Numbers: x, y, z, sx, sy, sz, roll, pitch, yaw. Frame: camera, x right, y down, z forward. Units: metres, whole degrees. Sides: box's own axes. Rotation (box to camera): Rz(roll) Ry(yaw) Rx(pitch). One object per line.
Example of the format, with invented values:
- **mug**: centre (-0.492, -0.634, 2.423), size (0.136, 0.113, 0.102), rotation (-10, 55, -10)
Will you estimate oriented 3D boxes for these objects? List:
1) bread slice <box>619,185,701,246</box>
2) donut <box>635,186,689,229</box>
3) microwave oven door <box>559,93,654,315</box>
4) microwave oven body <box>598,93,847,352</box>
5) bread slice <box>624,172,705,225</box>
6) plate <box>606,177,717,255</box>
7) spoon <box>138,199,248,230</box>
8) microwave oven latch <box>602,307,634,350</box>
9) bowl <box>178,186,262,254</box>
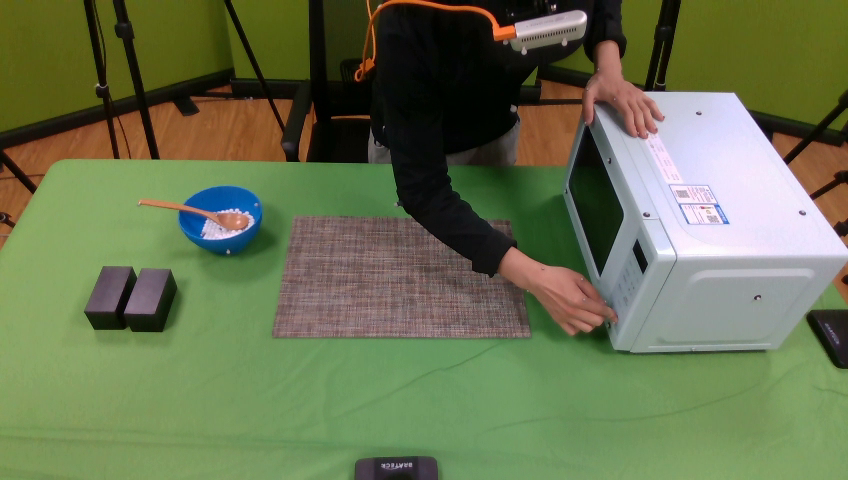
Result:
- **bread slice**: centre (0.462, -0.044, 1.171), size (0.134, 0.018, 0.107), rotation (32, 60, 23)
- **donut**: centre (0.454, -0.062, 1.159), size (0.099, 0.048, 0.098), rotation (-1, 48, 2)
- **microwave oven door**: centre (0.327, -0.074, 1.123), size (0.039, 0.245, 0.353), rotation (-1, 46, -5)
- **microwave oven body**: centre (0.476, -0.042, 1.109), size (0.326, 0.261, 0.438), rotation (-1, 45, -4)
- **bread slice**: centre (0.460, -0.078, 1.139), size (0.131, 0.019, 0.105), rotation (35, 51, 30)
- **plate**: centre (0.456, -0.043, 1.181), size (0.208, 0.039, 0.206), rotation (1, 46, -1)
- **spoon**: centre (-0.430, -0.053, 1.136), size (0.194, 0.022, 0.041), rotation (15, 49, -20)
- **microwave oven latch**: centre (0.332, 0.152, 1.044), size (0.030, 0.029, 0.078), rotation (-1, 45, -4)
- **bowl**: centre (-0.382, -0.026, 1.158), size (0.151, 0.077, 0.150), rotation (2, 46, -2)
